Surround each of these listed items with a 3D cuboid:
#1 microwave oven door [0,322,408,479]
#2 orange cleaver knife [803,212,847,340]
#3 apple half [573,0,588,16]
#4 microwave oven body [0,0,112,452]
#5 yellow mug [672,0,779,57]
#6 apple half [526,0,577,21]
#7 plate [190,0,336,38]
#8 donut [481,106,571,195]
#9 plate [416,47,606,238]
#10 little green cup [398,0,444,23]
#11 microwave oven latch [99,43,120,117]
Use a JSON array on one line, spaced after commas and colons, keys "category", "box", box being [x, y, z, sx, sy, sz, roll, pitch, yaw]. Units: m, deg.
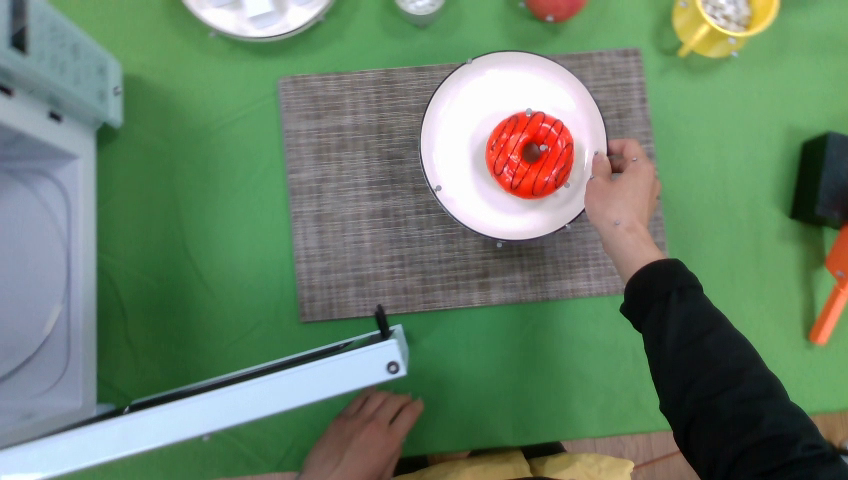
[{"category": "microwave oven door", "box": [-0.191, 0.148, 0.578, 0.356, 0.244, 0.039, -16, 85, -3]}, {"category": "orange cleaver knife", "box": [0.493, 0.018, 0.709, 0.012, 0.077, 0.212, 15, 115, 3]}, {"category": "apple half", "box": [0.185, -0.312, 0.729, 0.033, 0.081, 0.081, -14, 85, 2]}, {"category": "microwave oven body", "box": [-0.508, -0.012, 0.585, 0.326, 0.260, 0.440, -2, 86, -2]}, {"category": "yellow mug", "box": [0.354, -0.273, 0.736, 0.100, 0.064, 0.131, 43, 86, 2]}, {"category": "apple half", "box": [0.147, -0.303, 0.728, 0.053, 0.074, 0.081, -14, 89, 2]}, {"category": "plate", "box": [-0.193, -0.342, 0.737, 0.208, 0.039, 0.207, 0, 85, -2]}, {"category": "donut", "box": [0.111, -0.097, 0.658, 0.099, 0.048, 0.099, 0, 89, -4]}, {"category": "plate", "box": [0.094, -0.105, 0.669, 0.209, 0.038, 0.209, 0, 88, -3]}, {"category": "little green cup", "box": [-0.003, -0.298, 0.740, 0.061, 0.038, 0.061, 0, 85, -1]}, {"category": "microwave oven latch", "box": [-0.369, -0.184, 0.699, 0.030, 0.029, 0.079, 0, 86, -2]}]
